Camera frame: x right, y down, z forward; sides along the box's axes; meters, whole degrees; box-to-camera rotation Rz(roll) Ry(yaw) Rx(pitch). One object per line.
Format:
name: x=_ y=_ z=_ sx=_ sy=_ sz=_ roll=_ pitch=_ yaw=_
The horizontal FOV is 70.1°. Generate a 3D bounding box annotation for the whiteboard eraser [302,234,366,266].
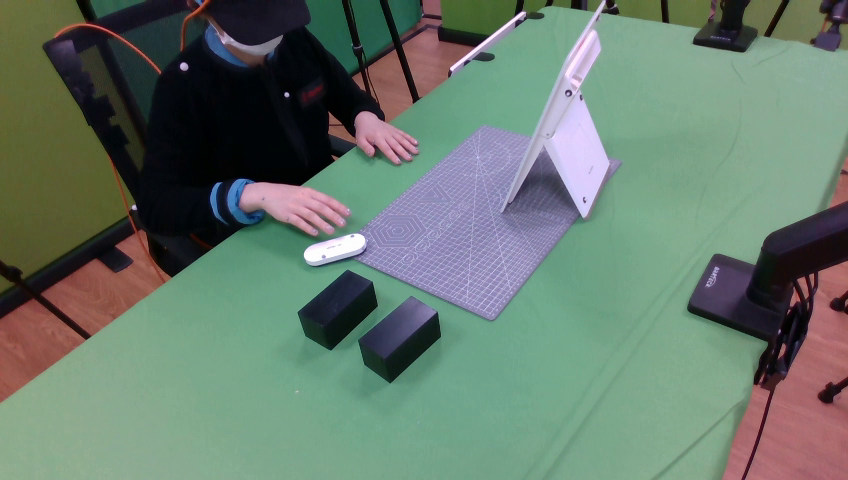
whiteboard eraser: x=-0.144 y=0.015 z=0.970 sx=0.101 sy=0.019 sz=0.041 roll=-14 pitch=42 yaw=-6

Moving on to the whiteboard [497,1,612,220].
whiteboard: x=0.259 y=-0.177 z=0.963 sx=0.143 sy=0.306 sz=0.217 roll=28 pitch=48 yaw=9
